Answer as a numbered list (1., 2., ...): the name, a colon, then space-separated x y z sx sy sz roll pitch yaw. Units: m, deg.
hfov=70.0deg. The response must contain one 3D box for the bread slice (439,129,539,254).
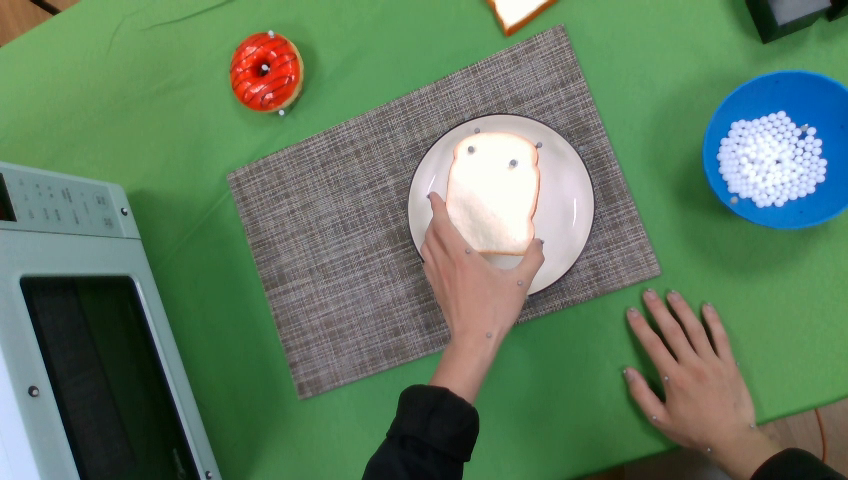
1. bread slice: 0.070 -0.052 0.652 0.106 0.018 0.134 0 85 17

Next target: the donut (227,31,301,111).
1. donut: -0.198 -0.209 0.749 0.099 0.048 0.099 0 89 16

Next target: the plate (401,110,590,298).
1. plate: 0.079 -0.038 0.679 0.207 0.039 0.207 0 89 13

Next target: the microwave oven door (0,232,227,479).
1. microwave oven door: -0.341 0.162 0.653 0.039 0.244 0.354 -24 83 12

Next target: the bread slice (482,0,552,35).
1. bread slice: 0.098 -0.318 0.697 0.105 0.019 0.131 -35 82 9

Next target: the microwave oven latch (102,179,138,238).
1. microwave oven latch: -0.397 -0.037 0.775 0.030 0.029 0.079 -23 84 11

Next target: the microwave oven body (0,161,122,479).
1. microwave oven body: -0.488 0.180 0.691 0.326 0.261 0.440 -23 84 11

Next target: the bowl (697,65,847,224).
1. bowl: 0.345 -0.087 0.601 0.151 0.077 0.151 -1 88 13
